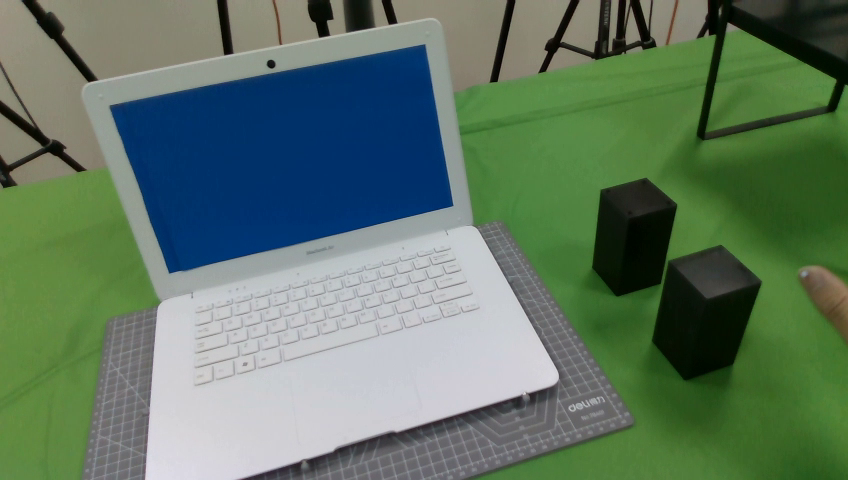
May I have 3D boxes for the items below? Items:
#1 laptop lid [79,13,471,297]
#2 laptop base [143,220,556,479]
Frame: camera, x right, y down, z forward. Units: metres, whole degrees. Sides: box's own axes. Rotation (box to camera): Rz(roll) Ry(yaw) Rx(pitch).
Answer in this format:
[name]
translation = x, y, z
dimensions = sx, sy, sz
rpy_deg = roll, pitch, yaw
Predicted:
[laptop lid]
translation = -0.134, -0.084, 0.629
dimensions = 0.357, 0.243, 0.013
rpy_deg = -16, 22, -9
[laptop base]
translation = -0.081, 0.094, 0.586
dimensions = 0.355, 0.023, 0.232
rpy_deg = -14, 43, -9
